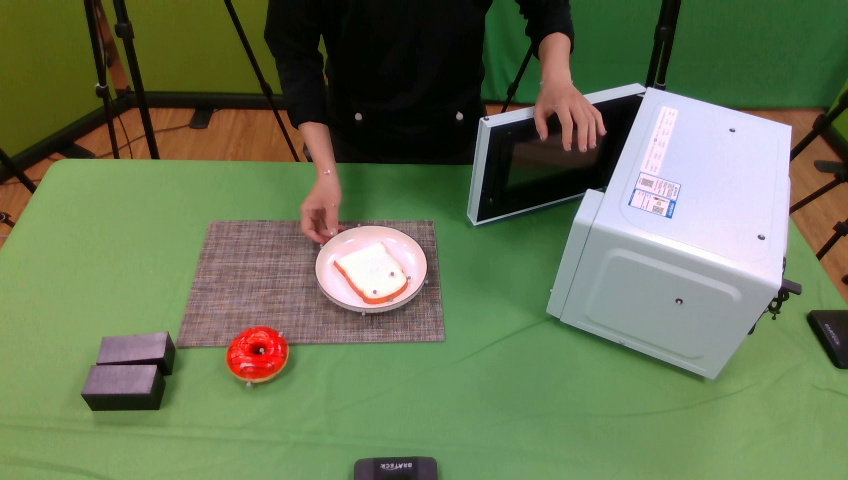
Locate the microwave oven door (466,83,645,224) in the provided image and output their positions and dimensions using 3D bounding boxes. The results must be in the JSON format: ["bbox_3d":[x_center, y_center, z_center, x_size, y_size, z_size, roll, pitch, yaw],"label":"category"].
[{"bbox_3d":[0.259,-0.171,1.205,0.356,0.245,0.039,-16,50,-18],"label":"microwave oven door"}]

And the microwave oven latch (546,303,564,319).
[{"bbox_3d":[0.242,0.102,1.081,0.030,0.029,0.079,21,48,17],"label":"microwave oven latch"}]

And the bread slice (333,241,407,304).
[{"bbox_3d":[-0.092,0.060,1.117,0.105,0.019,0.130,-24,52,-24],"label":"bread slice"}]

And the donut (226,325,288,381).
[{"bbox_3d":[-0.270,0.182,0.984,0.099,0.048,0.098,5,49,-5],"label":"donut"}]

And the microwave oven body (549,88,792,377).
[{"bbox_3d":[0.456,-0.028,1.088,0.325,0.261,0.440,20,47,16],"label":"microwave oven body"}]

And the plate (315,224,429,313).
[{"bbox_3d":[-0.096,0.055,1.121,0.208,0.039,0.206,2,46,-2],"label":"plate"}]
